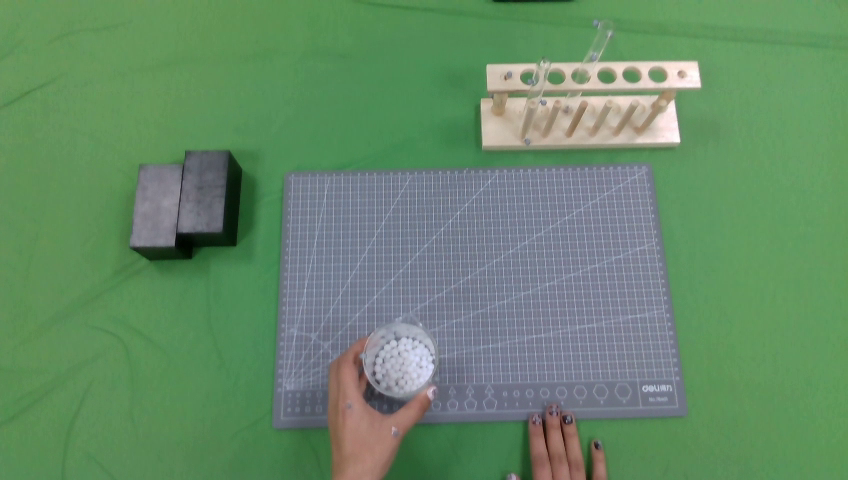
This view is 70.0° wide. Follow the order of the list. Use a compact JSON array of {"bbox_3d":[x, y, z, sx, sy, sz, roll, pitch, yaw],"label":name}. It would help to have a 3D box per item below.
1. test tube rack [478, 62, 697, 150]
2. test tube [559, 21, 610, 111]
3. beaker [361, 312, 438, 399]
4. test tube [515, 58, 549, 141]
[{"bbox_3d":[0.190,-0.159,0.727,0.242,0.085,0.066,-1,72,0],"label":"test tube rack"},{"bbox_3d":[0.179,-0.191,0.685,0.017,0.151,0.017,1,69,-3],"label":"test tube"},{"bbox_3d":[-0.023,0.124,0.628,0.074,0.101,0.083,10,72,3],"label":"beaker"},{"bbox_3d":[0.119,-0.153,0.678,0.017,0.151,0.017,0,70,0],"label":"test tube"}]
